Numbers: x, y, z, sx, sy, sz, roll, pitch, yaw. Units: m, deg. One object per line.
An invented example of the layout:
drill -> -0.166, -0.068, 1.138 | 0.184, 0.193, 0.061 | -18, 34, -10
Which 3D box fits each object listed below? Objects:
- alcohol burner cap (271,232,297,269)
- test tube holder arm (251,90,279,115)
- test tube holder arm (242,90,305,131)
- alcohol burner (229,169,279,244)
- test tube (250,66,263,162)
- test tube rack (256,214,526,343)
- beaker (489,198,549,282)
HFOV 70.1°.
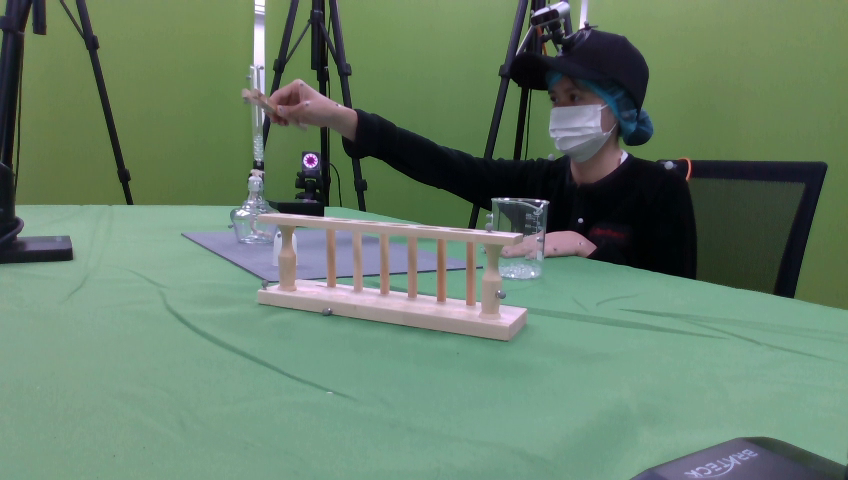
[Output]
alcohol burner cap -> -0.175, 0.012, 0.761 | 0.034, 0.048, 0.034 | 2, 8, 0
test tube holder arm -> -0.253, -0.219, 0.967 | 0.010, 0.015, 0.088 | 1, -6, 10
test tube holder arm -> -0.247, -0.214, 1.012 | 0.013, 0.015, 0.179 | 1, -6, 18
alcohol burner -> -0.268, -0.053, 0.958 | 0.078, 0.119, 0.078 | 2, 5, 0
test tube -> -0.262, -0.197, 0.946 | 0.017, 0.150, 0.017 | -2, 0, 0
test tube rack -> -0.032, 0.027, 0.547 | 0.241, 0.085, 0.067 | 6, 7, 22
beaker -> 0.120, -0.001, 0.768 | 0.074, 0.100, 0.083 | -1, 9, -25
